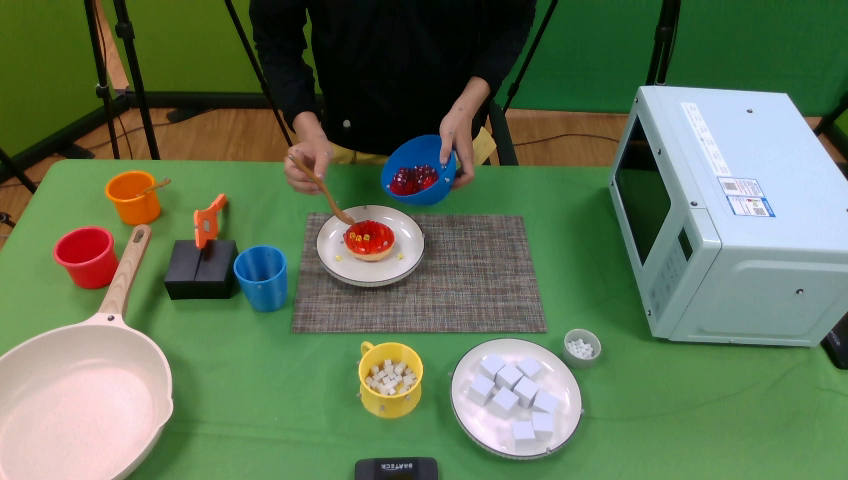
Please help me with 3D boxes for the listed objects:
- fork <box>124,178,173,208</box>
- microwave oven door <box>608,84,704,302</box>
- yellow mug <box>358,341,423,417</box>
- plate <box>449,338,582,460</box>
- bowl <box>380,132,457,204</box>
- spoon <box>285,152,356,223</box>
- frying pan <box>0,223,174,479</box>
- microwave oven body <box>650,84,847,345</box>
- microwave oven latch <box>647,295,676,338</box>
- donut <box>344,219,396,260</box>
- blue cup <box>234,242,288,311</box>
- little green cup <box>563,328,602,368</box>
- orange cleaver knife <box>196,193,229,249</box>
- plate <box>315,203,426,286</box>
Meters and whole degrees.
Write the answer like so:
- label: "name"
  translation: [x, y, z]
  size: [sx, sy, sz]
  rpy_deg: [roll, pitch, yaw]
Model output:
- label: "fork"
  translation: [-0.525, -0.090, 1.153]
  size: [0.207, 0.019, 0.028]
  rpy_deg: [-17, 27, 45]
- label: "microwave oven door"
  translation: [0.424, -0.096, 1.138]
  size: [0.039, 0.245, 0.353]
  rpy_deg: [3, 46, -1]
- label: "yellow mug"
  translation: [-0.062, 0.210, 0.961]
  size: [0.100, 0.064, 0.130]
  rpy_deg: [-29, 54, -27]
- label: "plate"
  translation: [0.141, 0.251, 0.955]
  size: [0.208, 0.039, 0.206]
  rpy_deg: [2, 46, -2]
- label: "bowl"
  translation: [0.002, -0.120, 1.141]
  size: [0.151, 0.077, 0.150]
  rpy_deg: [-16, 49, 20]
- label: "spoon"
  translation: [-0.176, -0.089, 1.044]
  size: [0.021, 0.195, 0.041]
  rpy_deg: [-34, 43, 1]
- label: "frying pan"
  translation: [-0.505, 0.169, 0.941]
  size: [0.307, 0.103, 0.485]
  rpy_deg: [5, 54, -1]
- label: "microwave oven body"
  translation: [0.569, -0.054, 1.116]
  size: [0.326, 0.261, 0.439]
  rpy_deg: [2, 46, -1]
- label: "microwave oven latch"
  translation: [0.413, 0.133, 1.060]
  size: [0.030, 0.029, 0.078]
  rpy_deg: [4, 46, 1]
- label: "donut"
  translation: [-0.103, -0.002, 1.157]
  size: [0.099, 0.048, 0.098]
  rpy_deg: [3, 43, -2]
- label: "blue cup"
  translation: [-0.276, 0.072, 1.052]
  size: [0.093, 0.101, 0.092]
  rpy_deg: [1, 48, -1]
- label: "little green cup"
  translation: [0.265, 0.184, 1.025]
  size: [0.061, 0.039, 0.061]
  rpy_deg: [1, 46, -1]
- label: "orange cleaver knife"
  translation: [-0.406, -0.041, 1.163]
  size: [0.012, 0.077, 0.210]
  rpy_deg: [1, 17, -3]
- label: "plate"
  translation: [-0.101, 0.012, 1.159]
  size: [0.209, 0.038, 0.208]
  rpy_deg: [2, 46, -2]
